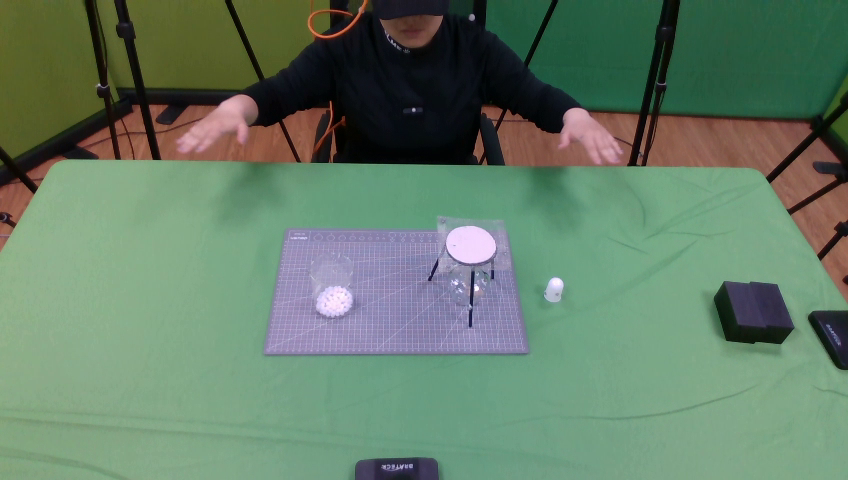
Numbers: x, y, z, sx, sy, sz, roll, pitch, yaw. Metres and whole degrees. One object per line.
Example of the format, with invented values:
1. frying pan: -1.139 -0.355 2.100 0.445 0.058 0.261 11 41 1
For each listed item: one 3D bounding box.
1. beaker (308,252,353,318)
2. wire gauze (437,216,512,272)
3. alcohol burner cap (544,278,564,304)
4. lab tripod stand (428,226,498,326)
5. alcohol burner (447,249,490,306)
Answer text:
1. beaker: -0.159 0.080 1.052 0.074 0.101 0.083 11 46 6
2. wire gauze: 0.083 0.006 1.025 0.121 0.011 0.124 2 47 -4
3. alcohol burner cap: 0.241 0.090 1.117 0.034 0.048 0.033 2 45 -1
4. lab tripod stand: 0.079 0.056 1.070 0.148 0.132 0.147 3 47 -3
5. alcohol burner: 0.079 0.062 1.078 0.078 0.120 0.077 1 45 -1
